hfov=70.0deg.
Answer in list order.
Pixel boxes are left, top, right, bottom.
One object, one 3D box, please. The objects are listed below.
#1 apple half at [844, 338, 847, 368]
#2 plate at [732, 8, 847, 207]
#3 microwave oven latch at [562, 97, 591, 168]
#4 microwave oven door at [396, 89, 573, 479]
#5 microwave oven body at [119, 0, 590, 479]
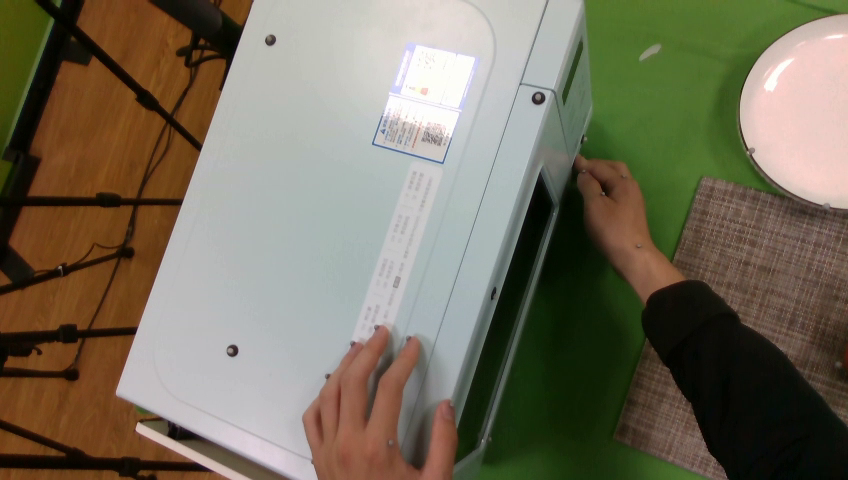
[{"bbox_3d":[0.424,0.108,0.564,0.053,0.075,0.080,-3,84,22],"label":"apple half"},{"bbox_3d":[0.428,-0.132,0.623,0.207,0.039,0.207,-3,81,16],"label":"plate"},{"bbox_3d":[0.166,-0.123,0.683,0.030,0.030,0.079,18,88,18],"label":"microwave oven latch"},{"bbox_3d":[0.065,0.067,0.576,0.039,0.245,0.355,17,86,19],"label":"microwave oven door"},{"bbox_3d":[-0.052,-0.012,0.629,0.324,0.262,0.441,17,87,18],"label":"microwave oven body"}]
